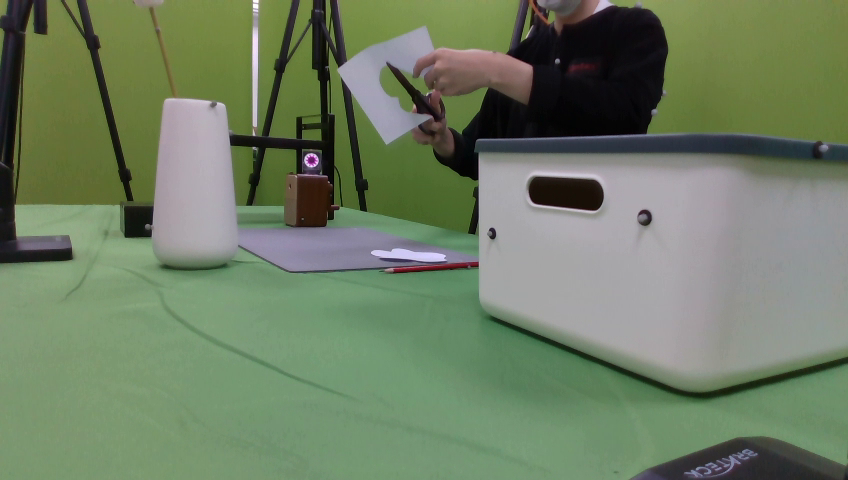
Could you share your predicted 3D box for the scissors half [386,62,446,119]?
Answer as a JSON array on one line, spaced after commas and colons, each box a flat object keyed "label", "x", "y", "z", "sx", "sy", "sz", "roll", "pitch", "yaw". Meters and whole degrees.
[{"label": "scissors half", "x": -0.012, "y": -0.269, "z": 1.082, "sx": 0.013, "sy": 0.040, "sz": 0.176, "roll": 6, "pitch": -13, "yaw": 40}]

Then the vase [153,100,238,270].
[{"label": "vase", "x": -0.278, "y": -0.066, "z": 0.736, "sx": 0.098, "sy": 0.200, "sz": 0.098, "roll": 2, "pitch": 9, "yaw": 0}]

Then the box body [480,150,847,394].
[{"label": "box body", "x": 0.254, "y": 0.002, "z": 0.539, "sx": 0.366, "sy": 0.160, "sz": 0.253, "roll": -2, "pitch": 8, "yaw": -31}]

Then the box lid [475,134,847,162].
[{"label": "box lid", "x": 0.256, "y": -0.073, "z": 0.528, "sx": 0.373, "sy": 0.015, "sz": 0.262, "roll": -2, "pitch": 8, "yaw": -31}]

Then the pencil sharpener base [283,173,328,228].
[{"label": "pencil sharpener base", "x": -0.239, "y": -0.081, "z": 1.231, "sx": 0.077, "sy": 0.107, "sz": 0.061, "roll": -2, "pitch": 8, "yaw": -36}]

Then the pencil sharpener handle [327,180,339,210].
[{"label": "pencil sharpener handle", "x": -0.194, "y": -0.095, "z": 1.256, "sx": 0.031, "sy": 0.067, "sz": 0.036, "roll": -2, "pitch": -6, "yaw": -36}]

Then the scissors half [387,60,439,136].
[{"label": "scissors half", "x": -0.021, "y": -0.251, "z": 1.076, "sx": 0.012, "sy": 0.040, "sz": 0.176, "roll": 13, "pitch": -30, "yaw": 42}]

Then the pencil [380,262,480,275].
[{"label": "pencil", "x": 0.030, "y": 0.036, "z": 0.794, "sx": 0.195, "sy": 0.012, "sz": 0.012, "roll": -3, "pitch": 9, "yaw": -30}]

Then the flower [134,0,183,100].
[{"label": "flower", "x": -0.282, "y": -0.147, "z": 0.713, "sx": 0.038, "sy": 0.362, "sz": 0.044, "roll": -23, "pitch": 24, "yaw": -31}]
